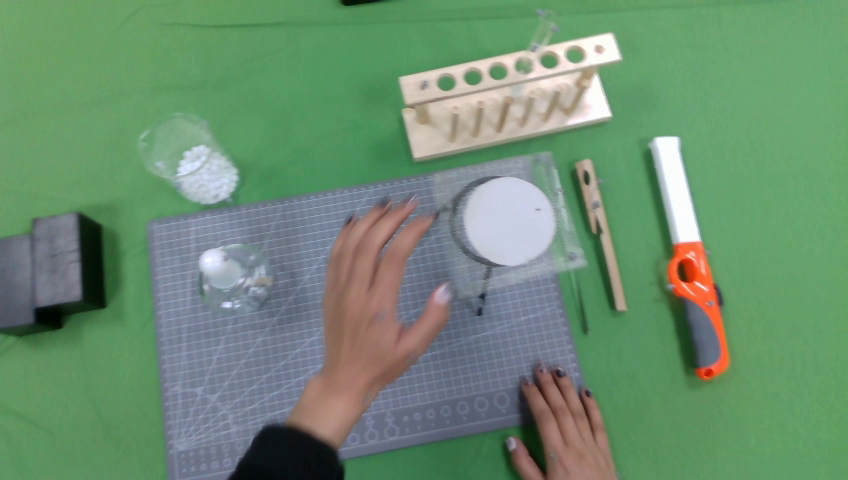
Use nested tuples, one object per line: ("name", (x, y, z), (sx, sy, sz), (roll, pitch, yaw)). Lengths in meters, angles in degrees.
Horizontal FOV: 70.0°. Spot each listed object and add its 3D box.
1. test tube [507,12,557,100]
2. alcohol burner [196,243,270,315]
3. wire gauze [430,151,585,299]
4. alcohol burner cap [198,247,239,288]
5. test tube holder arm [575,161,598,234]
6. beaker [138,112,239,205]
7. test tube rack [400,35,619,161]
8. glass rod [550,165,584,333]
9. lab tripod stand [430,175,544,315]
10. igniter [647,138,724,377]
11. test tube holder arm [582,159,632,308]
("test tube", (0.114, -0.193, 0.656), (0.017, 0.151, 0.017), (2, 73, -6))
("alcohol burner", (-0.203, 0.036, 0.628), (0.078, 0.120, 0.077), (0, 73, 1))
("wire gauze", (0.075, -0.018, 0.564), (0.121, 0.011, 0.124), (-12, 75, -2))
("alcohol burner cap", (-0.203, 0.024, 0.593), (0.034, 0.048, 0.033), (1, 65, -1))
("test tube holder arm", (0.193, -0.050, 0.707), (0.010, 0.015, 0.087), (-21, 73, 34))
("beaker", (-0.255, -0.085, 0.669), (0.084, 0.101, 0.073), (8, 75, 3))
("test tube rack", (0.098, -0.161, 0.699), (0.242, 0.085, 0.066), (-12, 75, -3))
("glass rod", (0.164, 0.008, 0.696), (0.008, 0.008, 0.199), (-7, 79, -3))
("lab tripod stand", (0.064, -0.004, 0.630), (0.148, 0.132, 0.147), (0, 76, 2))
("igniter", (0.295, 0.014, 0.685), (0.057, 0.025, 0.275), (-3, 75, -11))
("test tube holder arm", (0.207, -0.009, 0.692), (0.013, 0.015, 0.177), (-23, 72, 33))
